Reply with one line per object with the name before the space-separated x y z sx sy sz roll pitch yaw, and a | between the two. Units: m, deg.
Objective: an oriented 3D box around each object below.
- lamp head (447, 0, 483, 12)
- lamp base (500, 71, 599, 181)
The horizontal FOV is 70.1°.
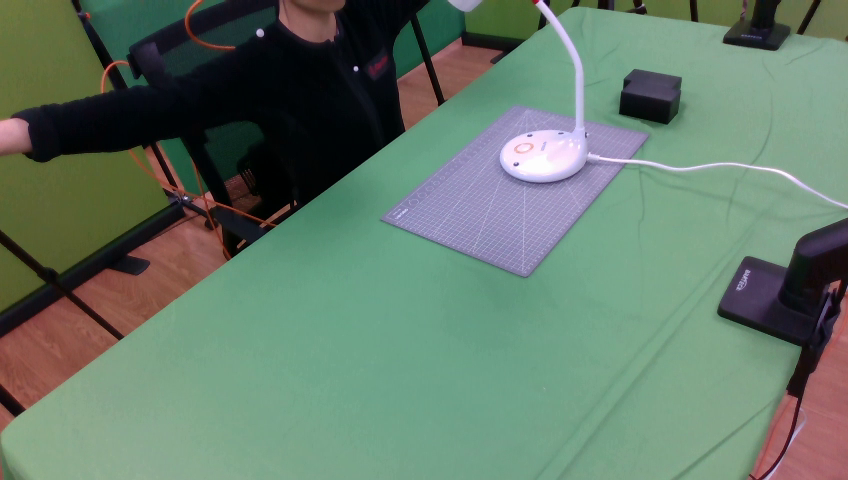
lamp head | 0.084 -0.422 0.915 0.122 0.113 0.112 -21 31 36
lamp base | 0.223 -0.217 1.068 0.179 0.181 0.160 2 42 10
